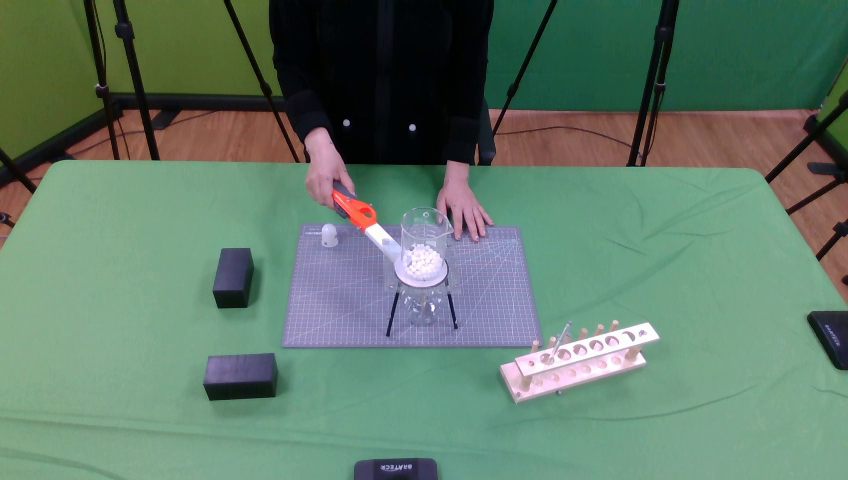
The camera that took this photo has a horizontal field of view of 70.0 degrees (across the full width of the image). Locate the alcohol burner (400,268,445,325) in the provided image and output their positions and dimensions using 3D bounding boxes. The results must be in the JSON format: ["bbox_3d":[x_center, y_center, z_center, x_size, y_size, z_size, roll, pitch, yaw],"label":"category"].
[{"bbox_3d":[-0.003,0.092,1.042,0.078,0.120,0.077,1,46,-1],"label":"alcohol burner"}]

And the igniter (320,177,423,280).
[{"bbox_3d":[-0.101,-0.028,1.076,0.057,0.025,0.275,-27,57,-32],"label":"igniter"}]

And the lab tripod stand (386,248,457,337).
[{"bbox_3d":[-0.010,0.087,1.032,0.148,0.132,0.147,1,45,-1],"label":"lab tripod stand"}]

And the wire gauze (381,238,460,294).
[{"bbox_3d":[-0.007,0.042,0.985,0.125,0.011,0.120,-1,43,-2],"label":"wire gauze"}]

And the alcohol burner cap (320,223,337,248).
[{"bbox_3d":[-0.187,-0.011,1.176,0.034,0.048,0.033,1,46,-1],"label":"alcohol burner cap"}]

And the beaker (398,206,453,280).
[{"bbox_3d":[0.000,0.008,0.950,0.084,0.101,0.073,10,45,6],"label":"beaker"}]

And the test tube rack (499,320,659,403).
[{"bbox_3d":[0.252,0.187,0.994,0.243,0.085,0.066,-12,48,-15],"label":"test tube rack"}]

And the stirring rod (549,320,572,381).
[{"bbox_3d":[0.202,0.168,0.901,0.006,0.177,0.014,-16,54,-11],"label":"stirring rod"}]
